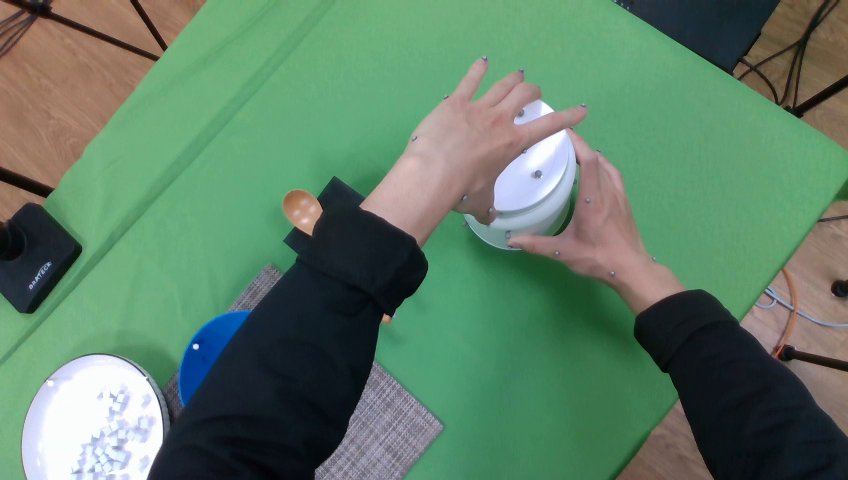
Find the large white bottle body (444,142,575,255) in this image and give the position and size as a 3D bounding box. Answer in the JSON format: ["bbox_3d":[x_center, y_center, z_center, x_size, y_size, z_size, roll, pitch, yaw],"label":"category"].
[{"bbox_3d":[0.092,-0.060,0.647,0.130,0.185,0.130,-2,80,10],"label":"large white bottle body"}]

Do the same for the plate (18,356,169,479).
[{"bbox_3d":[-0.408,0.251,0.761,0.209,0.038,0.208,-3,78,12],"label":"plate"}]

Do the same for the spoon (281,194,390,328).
[{"bbox_3d":[-0.102,0.026,0.707,0.041,0.022,0.193,-37,81,-3],"label":"spoon"}]

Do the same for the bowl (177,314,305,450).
[{"bbox_3d":[-0.202,0.165,0.715,0.151,0.077,0.151,-2,80,10],"label":"bowl"}]

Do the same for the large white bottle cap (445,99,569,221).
[{"bbox_3d":[0.076,-0.075,0.564,0.114,0.018,0.114,-2,80,11],"label":"large white bottle cap"}]
